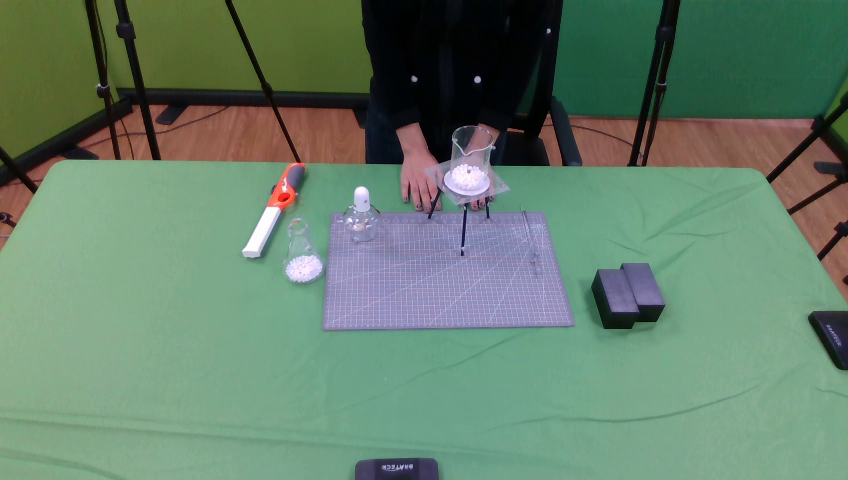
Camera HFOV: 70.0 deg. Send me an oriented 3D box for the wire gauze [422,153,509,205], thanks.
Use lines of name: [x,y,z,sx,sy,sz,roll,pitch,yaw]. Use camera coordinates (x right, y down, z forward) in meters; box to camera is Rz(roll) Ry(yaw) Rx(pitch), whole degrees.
wire gauze: [0.078,-0.114,1.144,0.125,0.011,0.120,-21,49,-20]

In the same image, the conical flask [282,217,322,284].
conical flask: [-0.225,0.016,1.097,0.075,0.122,0.075,2,46,-2]

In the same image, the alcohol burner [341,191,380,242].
alcohol burner: [-0.122,-0.054,1.175,0.078,0.119,0.077,4,47,-4]

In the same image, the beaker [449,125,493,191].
beaker: [0.083,-0.146,1.108,0.074,0.101,0.083,15,47,11]

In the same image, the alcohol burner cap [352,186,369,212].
alcohol burner cap: [-0.121,-0.079,1.149,0.034,0.048,0.033,1,40,-1]

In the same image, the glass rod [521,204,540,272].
glass rod: [0.215,-0.008,1.230,0.008,0.008,0.198,0,43,-3]

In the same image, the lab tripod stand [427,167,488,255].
lab tripod stand: [0.076,-0.068,1.191,0.148,0.132,0.147,3,44,-2]

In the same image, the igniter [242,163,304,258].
igniter: [-0.305,-0.069,1.239,0.057,0.025,0.275,2,45,12]
